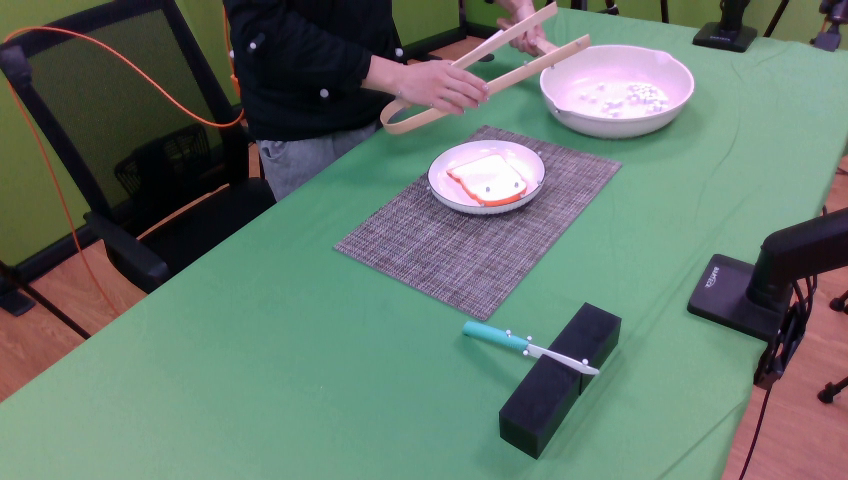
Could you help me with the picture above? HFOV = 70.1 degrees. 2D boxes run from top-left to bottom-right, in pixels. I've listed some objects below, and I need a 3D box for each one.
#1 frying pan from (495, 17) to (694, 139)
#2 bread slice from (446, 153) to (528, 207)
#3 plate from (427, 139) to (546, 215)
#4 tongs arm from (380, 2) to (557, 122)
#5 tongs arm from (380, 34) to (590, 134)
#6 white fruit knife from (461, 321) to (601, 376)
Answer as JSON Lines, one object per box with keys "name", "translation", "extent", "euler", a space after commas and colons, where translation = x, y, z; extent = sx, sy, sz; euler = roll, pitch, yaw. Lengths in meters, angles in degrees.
{"name": "frying pan", "translation": [0.318, -0.360, 1.264], "extent": [0.308, 0.103, 0.484], "euler": [-29, 56, -23]}
{"name": "bread slice", "translation": [0.118, -0.104, 1.057], "extent": [0.107, 0.018, 0.133], "euler": [-24, 41, -17]}
{"name": "plate", "translation": [0.109, -0.106, 1.058], "extent": [0.207, 0.039, 0.206], "euler": [-4, 40, 4]}
{"name": "tongs arm", "translation": [0.082, -0.325, 1.107], "extent": [0.388, 0.028, 0.028], "euler": [-33, 56, -2]}
{"name": "tongs arm", "translation": [0.104, -0.277, 1.065], "extent": [0.385, 0.027, 0.050], "euler": [-25, 53, 4]}
{"name": "white fruit knife", "translation": [0.125, 0.133, 0.752], "extent": [0.205, 0.027, 0.016], "euler": [12, 44, 41]}
